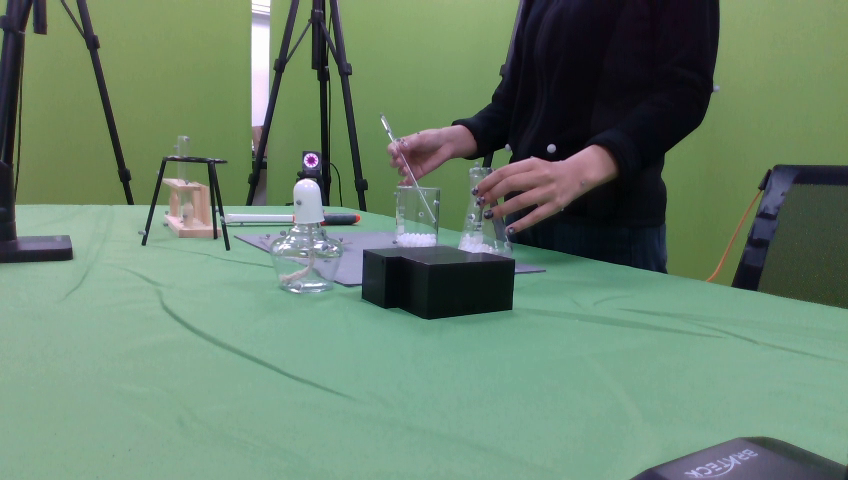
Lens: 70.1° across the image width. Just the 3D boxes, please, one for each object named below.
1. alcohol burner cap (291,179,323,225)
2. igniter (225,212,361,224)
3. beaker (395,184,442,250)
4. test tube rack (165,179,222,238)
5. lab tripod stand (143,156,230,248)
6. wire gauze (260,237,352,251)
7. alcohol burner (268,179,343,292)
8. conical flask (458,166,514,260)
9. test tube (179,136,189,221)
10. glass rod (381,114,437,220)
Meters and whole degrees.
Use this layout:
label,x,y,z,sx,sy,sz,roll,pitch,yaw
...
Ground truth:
label,x,y,z,sx,sy,sz,roll,pitch,yaw
alcohol burner cap,-0.124,-0.040,0.632,0.034,0.048,0.034,-3,10,1
igniter,-0.262,-0.044,1.240,0.278,0.025,0.057,-2,-1,-31
beaker,-0.009,-0.038,0.968,0.074,0.100,0.084,6,8,21
test tube rack,-0.423,-0.062,1.098,0.067,0.085,0.241,-2,9,-28
lab tripod stand,-0.338,-0.058,0.908,0.148,0.131,0.148,4,7,0
wire gauze,-0.184,0.004,0.938,0.122,0.011,0.124,-1,5,-24
alcohol burner,-0.124,-0.005,0.637,0.078,0.119,0.078,4,8,0
conical flask,0.080,-0.036,0.804,0.075,0.122,0.075,-2,2,0
test tube,-0.425,-0.108,1.070,0.017,0.150,0.017,4,9,0
glass rod,-0.025,-0.118,0.968,0.008,0.199,0.008,-25,-12,-6
